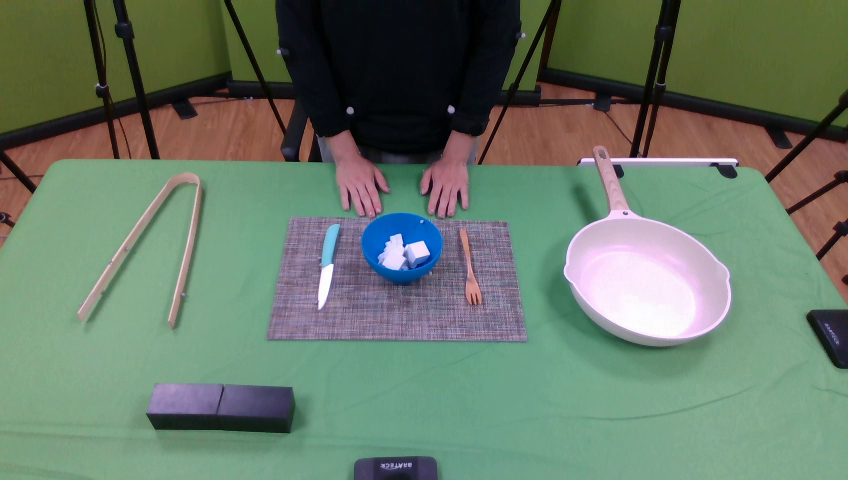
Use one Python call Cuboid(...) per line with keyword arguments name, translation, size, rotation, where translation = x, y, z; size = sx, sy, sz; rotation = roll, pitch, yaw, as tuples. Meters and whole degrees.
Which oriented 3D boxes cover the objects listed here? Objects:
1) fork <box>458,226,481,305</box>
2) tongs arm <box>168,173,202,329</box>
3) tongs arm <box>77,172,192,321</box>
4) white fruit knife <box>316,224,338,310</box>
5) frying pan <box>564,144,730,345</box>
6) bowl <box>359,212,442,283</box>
Cuboid(name="fork", translation=(0.083, 0.044, 1.158), size=(0.028, 0.019, 0.206), rotation=(-8, 48, 1))
Cuboid(name="tongs arm", translation=(-0.454, 0.005, 1.153), size=(0.028, 0.028, 0.385), rotation=(-5, 47, -6))
Cuboid(name="tongs arm", translation=(-0.535, -0.002, 1.147), size=(0.051, 0.026, 0.382), rotation=(7, 45, 1))
Cuboid(name="white fruit knife", translation=(-0.185, 0.047, 1.137), size=(0.027, 0.016, 0.206), rotation=(-5, 47, 6))
Cuboid(name="frying pan", translation=(0.396, -0.008, 1.179), size=(0.307, 0.103, 0.484), rotation=(0, 55, -5))
Cuboid(name="bowl", translation=(-0.044, 0.026, 1.124), size=(0.151, 0.077, 0.150), rotation=(2, 46, -2))
